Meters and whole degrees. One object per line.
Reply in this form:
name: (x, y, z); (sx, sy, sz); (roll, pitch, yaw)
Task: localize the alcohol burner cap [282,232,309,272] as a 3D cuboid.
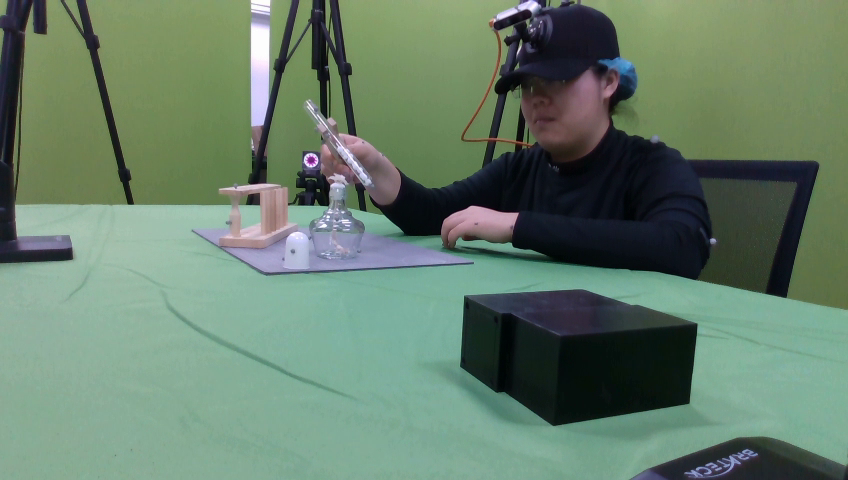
alcohol burner cap: (-0.157, 0.014, 0.740); (0.034, 0.048, 0.034); (2, 6, 0)

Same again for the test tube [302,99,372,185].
test tube: (-0.119, -0.133, 0.826); (0.017, 0.150, 0.017); (-37, -10, -7)

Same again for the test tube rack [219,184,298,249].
test tube rack: (-0.266, -0.046, 1.001); (0.067, 0.085, 0.242); (3, 7, 0)

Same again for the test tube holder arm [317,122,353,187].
test tube holder arm: (-0.129, -0.122, 0.892); (0.013, 0.015, 0.178); (-33, -19, -8)

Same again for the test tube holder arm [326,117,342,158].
test tube holder arm: (-0.126, -0.142, 0.851); (0.010, 0.015, 0.088); (-31, -20, -15)

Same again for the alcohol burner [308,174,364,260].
alcohol burner: (-0.121, -0.033, 0.841); (0.078, 0.119, 0.078); (3, 5, 0)
